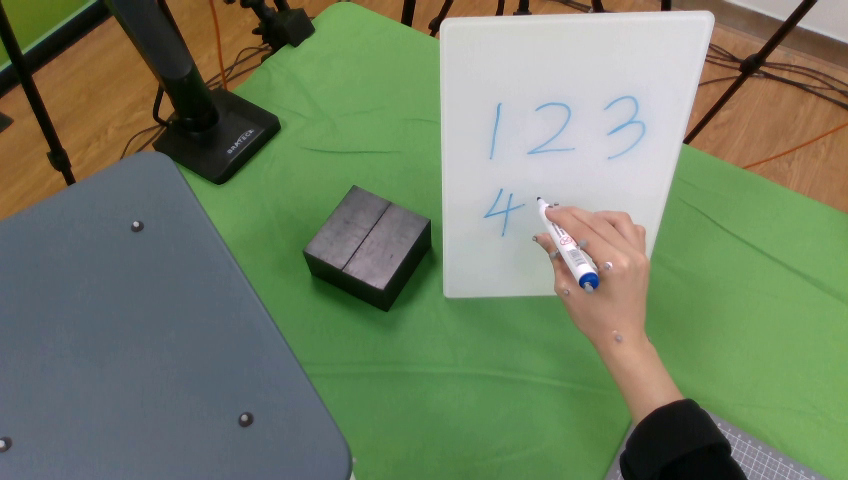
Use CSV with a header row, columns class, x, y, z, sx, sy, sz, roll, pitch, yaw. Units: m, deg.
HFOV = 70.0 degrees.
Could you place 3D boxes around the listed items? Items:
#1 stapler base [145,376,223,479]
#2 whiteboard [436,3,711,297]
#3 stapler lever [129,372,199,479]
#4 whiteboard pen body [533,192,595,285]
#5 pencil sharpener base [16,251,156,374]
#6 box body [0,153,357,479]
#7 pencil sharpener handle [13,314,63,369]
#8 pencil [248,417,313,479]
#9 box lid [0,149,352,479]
class,x,y,z,sx,sy,sz,roll,pitch,yaw
stapler base,-0.231,0.187,0.565,0.041,0.025,0.129,2,61,23
whiteboard,0.122,-0.102,0.616,0.217,0.308,0.142,-1,40,1
stapler lever,-0.238,0.177,0.545,0.026,0.040,0.117,2,60,23
whiteboard pen body,0.114,-0.007,0.513,0.017,0.017,0.139,-8,33,-4
pencil sharpener base,-0.326,0.074,0.589,0.076,0.108,0.061,-39,65,-19
box body,-0.249,0.136,0.526,0.254,0.162,0.360,-32,64,-17
pencil sharpener handle,-0.364,0.098,0.561,0.030,0.068,0.035,-39,65,-19
pencil,-0.170,0.233,0.545,0.012,0.012,0.193,32,54,19
box lid,-0.252,0.097,0.463,0.263,0.015,0.368,-32,64,-17
